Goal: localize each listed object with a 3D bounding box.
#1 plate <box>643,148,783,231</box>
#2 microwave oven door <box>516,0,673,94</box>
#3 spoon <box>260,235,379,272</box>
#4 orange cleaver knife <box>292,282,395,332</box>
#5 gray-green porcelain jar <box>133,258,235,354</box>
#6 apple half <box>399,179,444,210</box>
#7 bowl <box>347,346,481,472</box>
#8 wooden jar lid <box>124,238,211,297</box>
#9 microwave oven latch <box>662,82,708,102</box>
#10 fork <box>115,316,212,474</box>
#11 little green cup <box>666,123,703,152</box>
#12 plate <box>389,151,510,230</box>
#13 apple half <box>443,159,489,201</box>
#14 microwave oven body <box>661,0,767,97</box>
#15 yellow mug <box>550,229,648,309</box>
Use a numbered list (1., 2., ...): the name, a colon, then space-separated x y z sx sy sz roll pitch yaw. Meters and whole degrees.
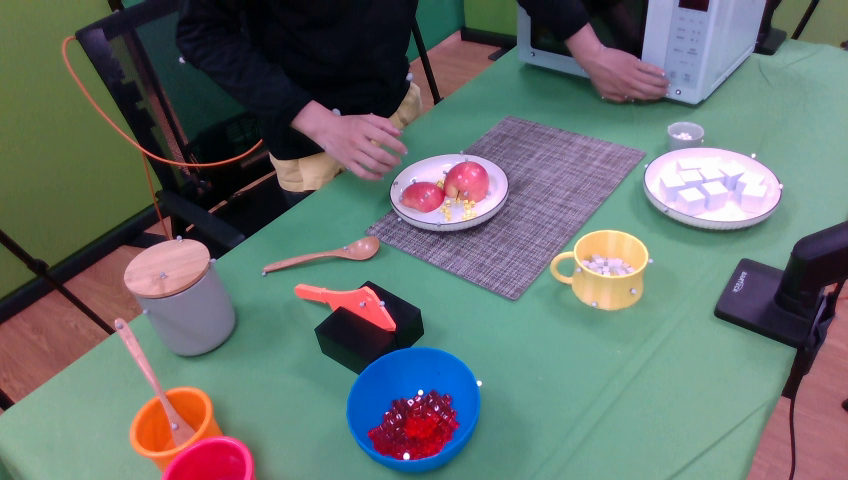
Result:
1. plate: 0.465 -0.080 0.986 0.207 0.039 0.206 -4 40 4
2. microwave oven door: 0.345 -0.458 1.257 0.353 0.245 0.039 26 52 33
3. spoon: -0.167 0.023 0.966 0.194 0.022 0.041 -10 57 -3
4. orange cleaver knife: -0.115 0.091 0.835 0.209 0.077 0.012 2 31 48
5. gray-green porcelain jar: -0.327 0.086 0.837 0.106 0.127 0.105 -4 41 4
6. apple half: -0.003 -0.088 1.045 0.081 0.033 0.081 -2 43 2
7. bowl: -0.008 0.205 0.691 0.151 0.077 0.150 -4 40 4
8. wooden jar lid: -0.334 0.038 0.795 0.108 0.021 0.108 -2 40 2
9. microwave oven latch: 0.518 -0.299 1.203 0.078 0.029 0.030 29 53 35
10. fork: -0.308 0.179 0.708 0.028 0.018 0.207 -30 89 -23
11. little green cup: 0.472 -0.184 1.102 0.061 0.039 0.061 -4 39 4
12. plate: 0.044 -0.083 1.043 0.209 0.038 0.208 -4 40 4
13. apple half: 0.074 -0.111 1.047 0.080 0.053 0.075 21 46 30
14. microwave oven body: 0.474 -0.517 1.314 0.438 0.261 0.327 26 51 34
15. yellow mug: 0.246 0.039 0.857 0.130 0.064 0.099 1 42 11
